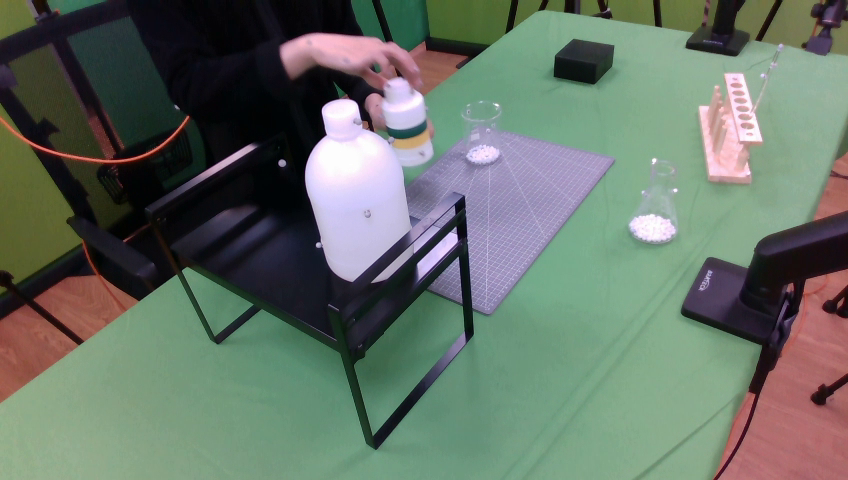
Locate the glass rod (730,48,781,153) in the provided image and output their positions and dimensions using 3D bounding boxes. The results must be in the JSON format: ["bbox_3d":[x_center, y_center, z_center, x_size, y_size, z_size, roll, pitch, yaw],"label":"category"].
[{"bbox_3d":[0.554,-0.228,1.015,0.008,0.200,0.008,1,44,-1],"label":"glass rod"}]

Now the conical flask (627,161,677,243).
[{"bbox_3d":[0.355,-0.061,0.921,0.075,0.122,0.075,-4,41,4],"label":"conical flask"}]

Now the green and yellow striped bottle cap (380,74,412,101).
[{"bbox_3d":[-0.039,-0.214,0.845,0.045,0.020,0.045,-9,40,8],"label":"green and yellow striped bottle cap"}]

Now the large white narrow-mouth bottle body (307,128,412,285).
[{"bbox_3d":[-0.070,-0.051,0.638,0.102,0.195,0.101,-3,40,3],"label":"large white narrow-mouth bottle body"}]

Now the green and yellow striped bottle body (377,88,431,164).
[{"bbox_3d":[-0.031,-0.176,0.879,0.063,0.120,0.063,-8,40,7],"label":"green and yellow striped bottle body"}]

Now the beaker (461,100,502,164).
[{"bbox_3d":[0.111,-0.201,1.132,0.084,0.101,0.073,-27,45,-22],"label":"beaker"}]

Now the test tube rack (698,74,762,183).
[{"bbox_3d":[0.547,-0.208,1.095,0.066,0.085,0.242,5,42,15],"label":"test tube rack"}]

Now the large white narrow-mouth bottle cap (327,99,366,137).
[{"bbox_3d":[-0.075,-0.118,0.582,0.038,0.024,0.037,-3,40,3],"label":"large white narrow-mouth bottle cap"}]
